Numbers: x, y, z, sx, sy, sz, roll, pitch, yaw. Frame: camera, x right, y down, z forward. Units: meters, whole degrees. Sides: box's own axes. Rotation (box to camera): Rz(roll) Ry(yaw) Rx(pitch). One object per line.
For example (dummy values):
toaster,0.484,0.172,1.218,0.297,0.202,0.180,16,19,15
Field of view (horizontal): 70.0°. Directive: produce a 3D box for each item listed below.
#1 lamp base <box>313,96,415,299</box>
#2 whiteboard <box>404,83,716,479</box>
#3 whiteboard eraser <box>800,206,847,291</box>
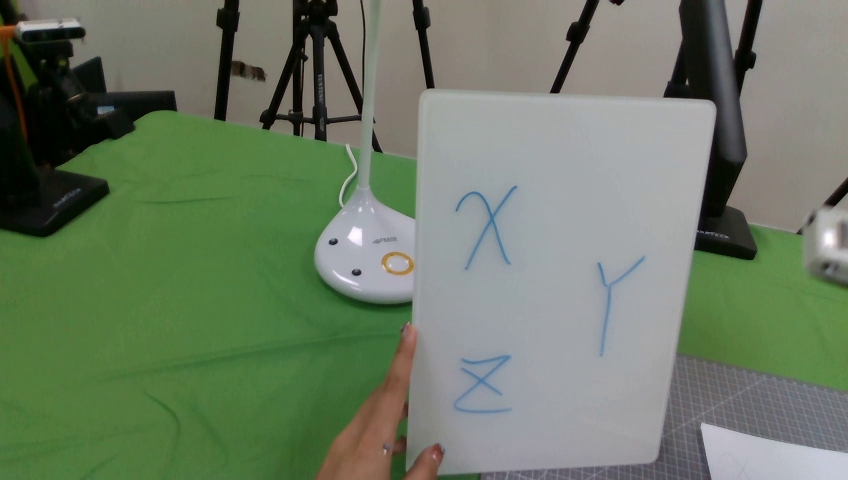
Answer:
lamp base,-0.048,-0.054,0.670,0.161,0.181,0.177,-17,39,-31
whiteboard,0.090,0.025,0.522,0.218,0.306,0.143,0,16,-8
whiteboard eraser,0.352,0.016,0.470,0.112,0.042,0.055,17,63,8
